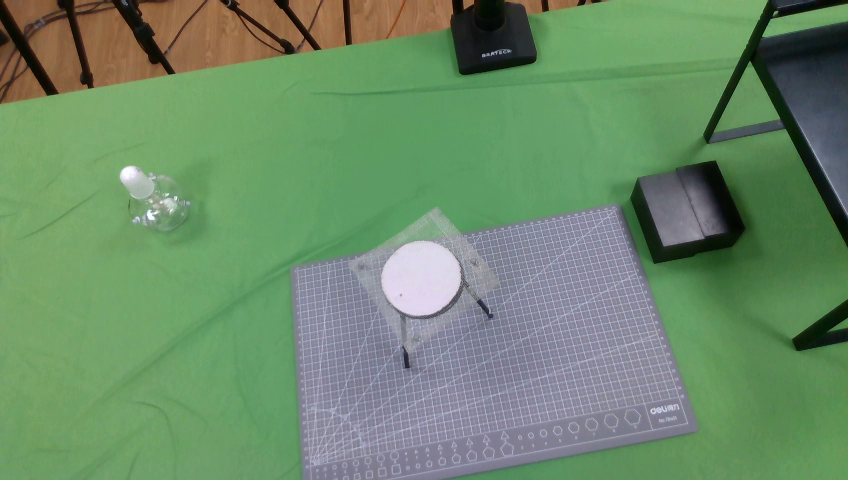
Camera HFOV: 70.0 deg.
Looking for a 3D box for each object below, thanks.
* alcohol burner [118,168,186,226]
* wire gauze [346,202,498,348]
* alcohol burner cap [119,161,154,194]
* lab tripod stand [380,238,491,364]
[{"bbox_3d":[-0.374,-0.068,0.821,0.078,0.120,0.077,-2,65,5],"label":"alcohol burner"},{"bbox_3d":[-0.003,0.032,0.645,0.121,0.011,0.124,-34,65,-9],"label":"wire gauze"},{"bbox_3d":[-0.378,-0.085,0.788,0.034,0.048,0.033,1,65,-1],"label":"alcohol burner cap"},{"bbox_3d":[0.001,0.063,0.705,0.148,0.132,0.147,-3,64,7],"label":"lab tripod stand"}]
